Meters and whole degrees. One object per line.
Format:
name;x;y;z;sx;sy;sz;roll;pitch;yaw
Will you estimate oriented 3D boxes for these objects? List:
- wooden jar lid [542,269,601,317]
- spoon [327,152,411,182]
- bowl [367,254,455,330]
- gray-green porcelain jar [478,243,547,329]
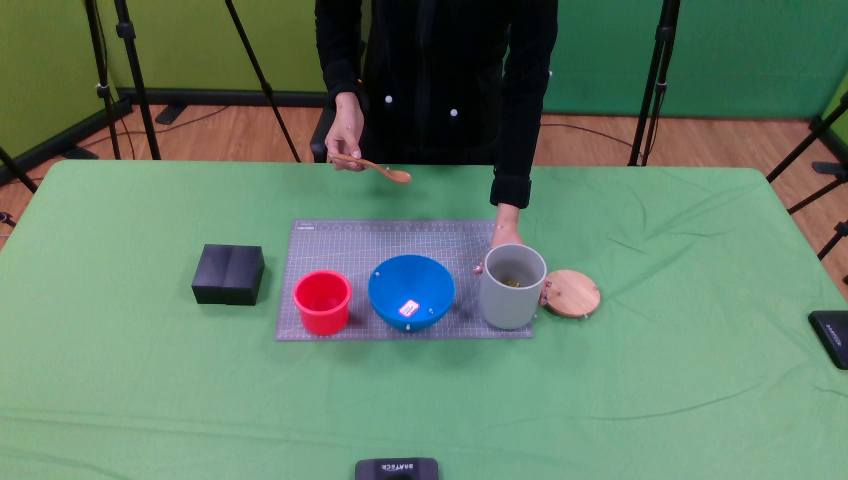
wooden jar lid;0.272;0.100;1.121;0.108;0.021;0.107;2;46;-2
spoon;-0.103;-0.143;1.163;0.195;0.021;0.041;16;31;-41
bowl;-0.023;0.104;1.053;0.151;0.077;0.150;2;46;-2
gray-green porcelain jar;0.150;0.085;1.049;0.106;0.127;0.105;2;46;-2
